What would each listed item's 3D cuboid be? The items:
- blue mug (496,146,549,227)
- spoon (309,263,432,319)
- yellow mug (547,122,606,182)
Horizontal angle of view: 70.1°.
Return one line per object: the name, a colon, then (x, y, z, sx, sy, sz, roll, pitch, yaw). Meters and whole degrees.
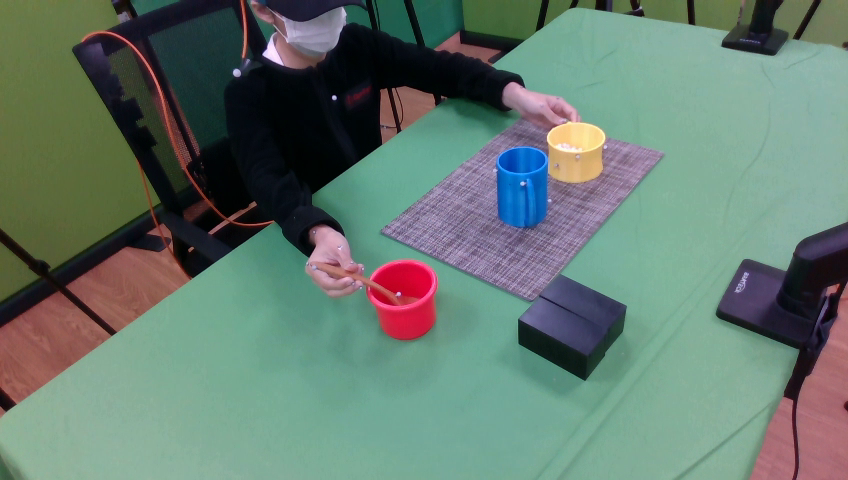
blue mug: (0.162, -0.076, 0.969, 0.082, 0.106, 0.116, -9, 40, -1)
spoon: (-0.068, 0.065, 0.809, 0.021, 0.195, 0.041, -47, 35, 21)
yellow mug: (0.270, -0.167, 1.090, 0.100, 0.064, 0.130, -6, 39, 3)
